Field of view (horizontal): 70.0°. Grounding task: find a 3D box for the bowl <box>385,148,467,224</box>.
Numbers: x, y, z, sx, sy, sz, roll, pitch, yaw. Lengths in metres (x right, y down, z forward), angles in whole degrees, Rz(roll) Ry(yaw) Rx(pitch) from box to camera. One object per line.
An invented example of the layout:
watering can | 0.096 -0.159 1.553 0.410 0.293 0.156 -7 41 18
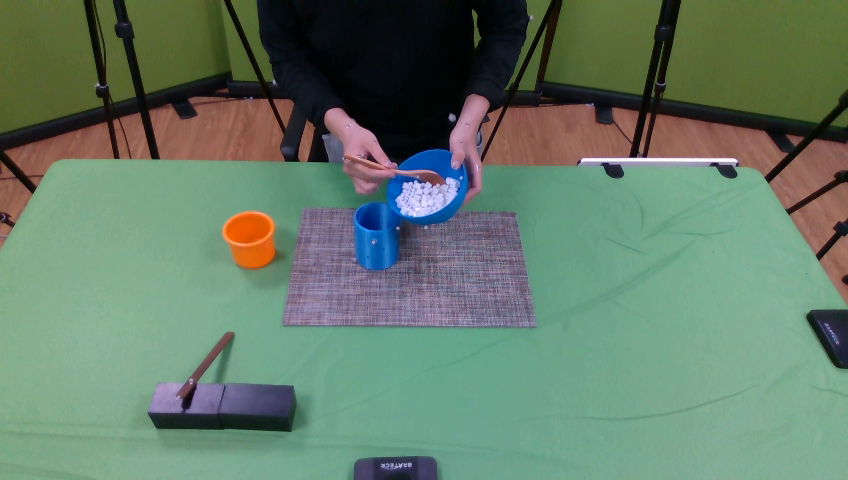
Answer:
bowl | 0.013 -0.082 1.082 0.151 0.077 0.150 -12 55 17

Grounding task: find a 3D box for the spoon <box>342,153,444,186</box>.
spoon | -0.051 -0.124 1.061 0.194 0.041 0.021 10 73 -26

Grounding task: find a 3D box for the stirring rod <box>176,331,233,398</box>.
stirring rod | -0.342 0.192 0.955 0.014 0.006 0.175 3 24 7

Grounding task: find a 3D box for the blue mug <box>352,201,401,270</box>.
blue mug | -0.082 -0.017 1.144 0.082 0.106 0.116 30 51 22
